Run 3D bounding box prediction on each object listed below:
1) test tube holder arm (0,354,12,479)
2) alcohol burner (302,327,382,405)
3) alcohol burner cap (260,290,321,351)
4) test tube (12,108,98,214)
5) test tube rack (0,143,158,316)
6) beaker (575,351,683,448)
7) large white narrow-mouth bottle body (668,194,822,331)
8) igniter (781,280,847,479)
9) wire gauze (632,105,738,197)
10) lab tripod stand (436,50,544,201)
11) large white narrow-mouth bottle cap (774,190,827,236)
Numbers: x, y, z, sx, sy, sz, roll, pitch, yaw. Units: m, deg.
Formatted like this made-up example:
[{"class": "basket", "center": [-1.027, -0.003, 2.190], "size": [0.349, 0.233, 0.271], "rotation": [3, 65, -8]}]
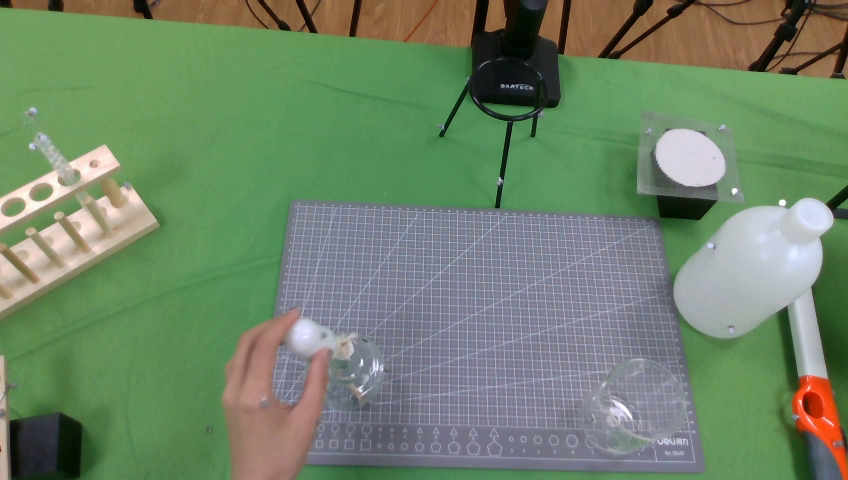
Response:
[{"class": "test tube holder arm", "center": [-0.365, 0.182, 0.522], "size": [0.013, 0.015, 0.177], "rotation": [-13, 64, -21]}, {"class": "alcohol burner", "center": [-0.078, 0.115, 0.578], "size": [0.078, 0.120, 0.077], "rotation": [3, 61, -5]}, {"class": "alcohol burner cap", "center": [-0.103, 0.066, 0.481], "size": [0.034, 0.034, 0.047], "rotation": [-40, 70, -22]}, {"class": "test tube", "center": [-0.370, -0.074, 0.614], "size": [0.017, 0.151, 0.017], "rotation": [1, 56, 0]}, {"class": "test tube rack", "center": [-0.416, 0.004, 0.627], "size": [0.242, 0.086, 0.066], "rotation": [-35, 70, -20]}, {"class": "beaker", "center": [0.189, 0.158, 0.586], "size": [0.084, 0.101, 0.073], "rotation": [0, 62, -4]}, {"class": "large white narrow-mouth bottle body", "center": [0.334, 0.017, 0.621], "size": [0.102, 0.196, 0.101], "rotation": [2, 62, -3]}, {"class": "igniter", "center": [0.414, 0.151, 0.652], "size": [0.057, 0.025, 0.274], "rotation": [13, 61, -9]}, {"class": "wire gauze", "center": [0.313, -0.107, 0.734], "size": [0.121, 0.011, 0.124], "rotation": [9, 62, 0]}, {"class": "lab tripod stand", "center": [0.086, -0.141, 0.718], "size": [0.148, 0.132, 0.147], "rotation": [3, 63, -5]}, {"class": "large white narrow-mouth bottle cap", "center": [0.338, -0.024, 0.546], "size": [0.038, 0.024, 0.037], "rotation": [2, 62, -3]}]
